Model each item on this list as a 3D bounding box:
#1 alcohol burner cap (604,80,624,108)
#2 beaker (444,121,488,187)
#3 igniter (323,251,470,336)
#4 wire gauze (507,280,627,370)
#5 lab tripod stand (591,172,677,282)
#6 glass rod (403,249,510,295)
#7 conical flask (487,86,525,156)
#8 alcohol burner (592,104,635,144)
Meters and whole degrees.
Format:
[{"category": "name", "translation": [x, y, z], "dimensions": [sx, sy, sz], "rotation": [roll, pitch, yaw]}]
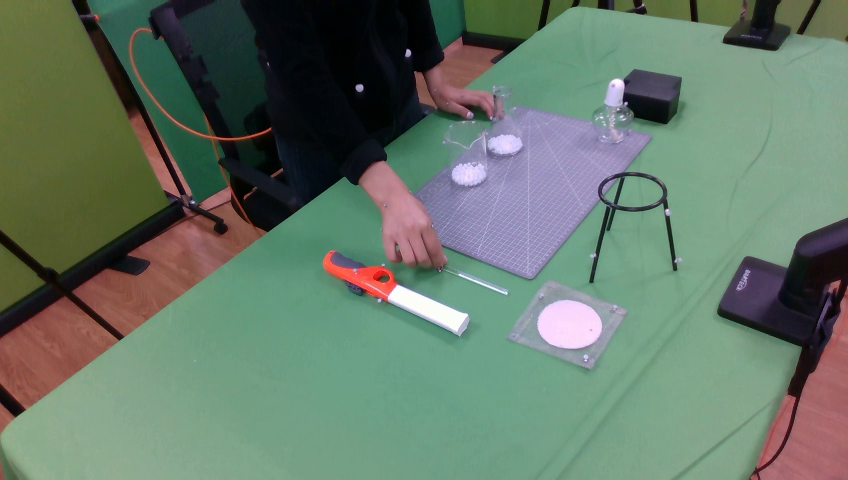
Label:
[{"category": "alcohol burner cap", "translation": [0.350, -0.269, 1.103], "dimensions": [0.034, 0.048, 0.033], "rotation": [-2, 47, 2]}, {"category": "beaker", "translation": [0.078, -0.150, 1.083], "dimensions": [0.074, 0.101, 0.083], "rotation": [-9, 40, 1]}, {"category": "igniter", "translation": [-0.052, 0.075, 0.901], "dimensions": [0.274, 0.025, 0.057], "rotation": [22, 60, 32]}, {"category": "wire gauze", "translation": [0.196, 0.114, 0.823], "dimensions": [0.120, 0.011, 0.125], "rotation": [20, 50, 31]}, {"category": "lab tripod stand", "translation": [0.292, -0.022, 0.867], "dimensions": [0.148, 0.132, 0.147], "rotation": [-7, 39, 6]}, {"category": "glass rod", "translation": [0.046, 0.047, 0.932], "dimensions": [0.198, 0.008, 0.008], "rotation": [21, 49, 31]}, {"category": "conical flask", "translation": [0.152, -0.226, 1.140], "dimensions": [0.075, 0.122, 0.075], "rotation": [-5, 40, 5]}, {"category": "alcohol burner", "translation": [0.353, -0.242, 1.126], "dimensions": [0.078, 0.119, 0.077], "rotation": [-5, 38, 5]}]
